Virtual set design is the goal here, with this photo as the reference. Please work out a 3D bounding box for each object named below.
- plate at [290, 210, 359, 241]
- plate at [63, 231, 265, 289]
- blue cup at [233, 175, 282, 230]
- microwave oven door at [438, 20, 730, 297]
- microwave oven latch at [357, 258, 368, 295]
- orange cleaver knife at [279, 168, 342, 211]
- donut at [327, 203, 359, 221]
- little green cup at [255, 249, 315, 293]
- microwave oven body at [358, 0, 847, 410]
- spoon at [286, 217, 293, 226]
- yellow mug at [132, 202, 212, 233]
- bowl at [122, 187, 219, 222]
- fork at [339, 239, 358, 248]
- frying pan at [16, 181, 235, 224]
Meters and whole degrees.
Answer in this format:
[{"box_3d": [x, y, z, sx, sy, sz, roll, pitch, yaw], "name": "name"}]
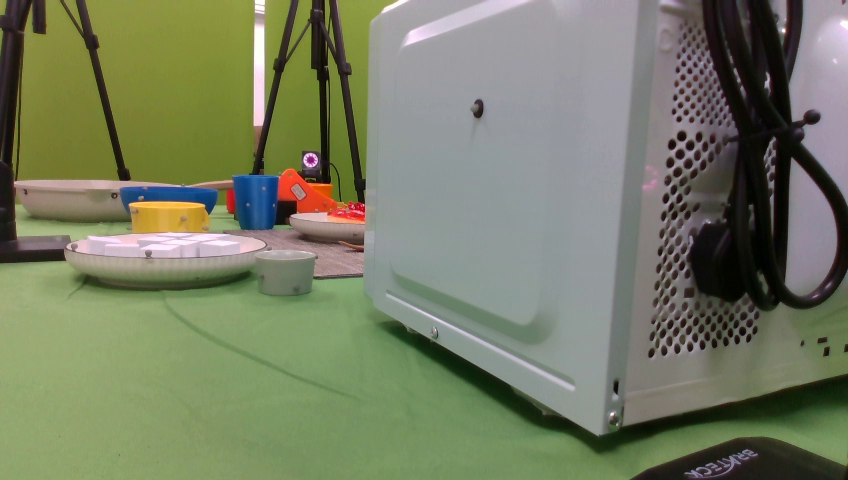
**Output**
[{"box_3d": [-0.127, -0.026, 1.051, 0.209, 0.038, 0.209, 3, 7, 0], "name": "plate"}, {"box_3d": [-0.288, 0.021, 0.687, 0.208, 0.039, 0.207, 2, 8, 0], "name": "plate"}, {"box_3d": [-0.314, -0.071, 1.141, 0.093, 0.100, 0.092, 0, 7, 0], "name": "blue cup"}, {"box_3d": [0.181, -0.076, 0.618, 0.358, 0.243, 0.039, -2, 8, -28], "name": "microwave oven door"}, {"box_3d": [-0.019, 0.031, 0.529, 0.079, 0.029, 0.030, -1, 7, -26], "name": "microwave oven latch"}, {"box_3d": [-0.236, -0.084, 1.333, 0.212, 0.077, 0.012, 31, -9, -31], "name": "orange cleaver knife"}, {"box_3d": [-0.120, -0.038, 1.055, 0.099, 0.048, 0.099, 5, 7, 0], "name": "donut"}, {"box_3d": [-0.144, 0.031, 0.627, 0.061, 0.038, 0.061, 2, 6, 0], "name": "little green cup"}, {"box_3d": [0.210, -0.051, 0.471, 0.444, 0.260, 0.324, -1, 7, -28], "name": "microwave oven body"}, {"box_3d": [-0.180, -0.037, 1.209, 0.195, 0.021, 0.041, -3, -13, -31], "name": "spoon"}, {"box_3d": [-0.356, -0.020, 0.878, 0.099, 0.064, 0.131, 5, 8, 21], "name": "yellow mug"}, {"box_3d": [-0.421, -0.046, 1.012, 0.151, 0.077, 0.151, 2, 8, 0], "name": "bowl"}, {"box_3d": [-0.026, 0.003, 0.925, 0.208, 0.018, 0.028, -2, -4, -18], "name": "fork"}, {"box_3d": [-0.554, -0.097, 1.266, 0.490, 0.102, 0.305, -10, 13, -24], "name": "frying pan"}]
